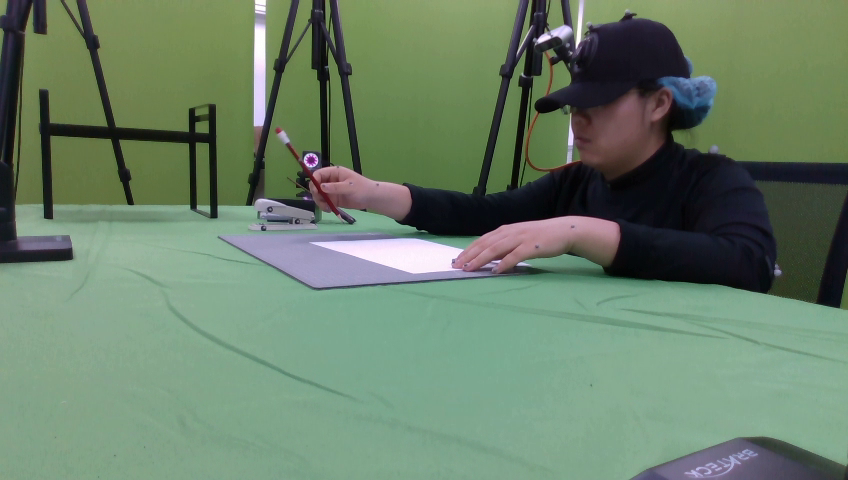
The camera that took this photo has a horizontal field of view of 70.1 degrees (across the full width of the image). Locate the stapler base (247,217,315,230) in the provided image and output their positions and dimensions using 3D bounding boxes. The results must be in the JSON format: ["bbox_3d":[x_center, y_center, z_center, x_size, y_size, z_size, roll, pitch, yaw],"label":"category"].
[{"bbox_3d":[-0.276,-0.033,1.172,0.131,0.024,0.041,0,10,-37],"label":"stapler base"}]

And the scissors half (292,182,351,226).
[{"bbox_3d":[-0.232,-0.085,1.317,0.175,0.013,0.040,38,20,4],"label":"scissors half"}]

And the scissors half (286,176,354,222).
[{"bbox_3d":[-0.229,-0.091,1.337,0.175,0.013,0.040,33,15,-13],"label":"scissors half"}]

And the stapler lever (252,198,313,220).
[{"bbox_3d":[-0.273,-0.058,1.170,0.119,0.040,0.026,0,10,-37],"label":"stapler lever"}]

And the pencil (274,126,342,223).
[{"bbox_3d":[-0.193,-0.107,1.021,0.012,0.194,0.012,-29,19,11],"label":"pencil"}]
